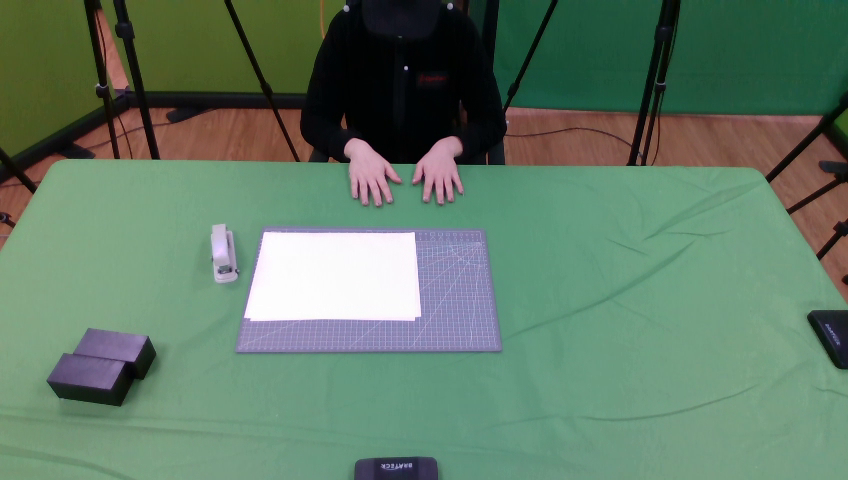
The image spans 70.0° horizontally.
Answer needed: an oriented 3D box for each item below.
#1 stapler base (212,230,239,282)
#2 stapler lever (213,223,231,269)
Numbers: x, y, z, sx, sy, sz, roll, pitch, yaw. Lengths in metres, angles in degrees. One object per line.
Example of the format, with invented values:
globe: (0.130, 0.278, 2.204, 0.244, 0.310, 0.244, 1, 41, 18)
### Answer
stapler base: (-0.377, 0.024, 1.144, 0.041, 0.024, 0.129, -9, 46, -15)
stapler lever: (-0.377, 0.005, 1.127, 0.027, 0.040, 0.117, -10, 46, -15)
